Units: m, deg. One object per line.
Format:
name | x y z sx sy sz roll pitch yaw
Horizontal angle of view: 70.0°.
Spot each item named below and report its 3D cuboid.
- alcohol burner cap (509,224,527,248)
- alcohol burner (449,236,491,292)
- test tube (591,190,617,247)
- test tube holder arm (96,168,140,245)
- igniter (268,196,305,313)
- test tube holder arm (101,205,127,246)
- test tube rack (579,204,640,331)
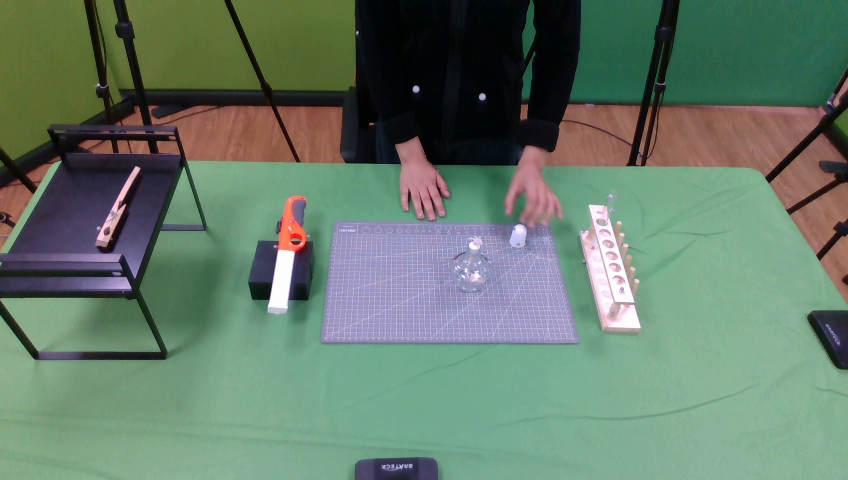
alcohol burner cap | 0.189 -0.011 1.205 0.034 0.048 0.033 1 47 0
alcohol burner | 0.086 0.038 1.101 0.078 0.119 0.077 3 44 -2
test tube | 0.340 -0.038 1.149 0.017 0.151 0.017 1 50 -1
test tube holder arm | -0.486 -0.058 0.968 0.013 0.015 0.177 27 37 -27
igniter | -0.248 0.016 1.095 0.057 0.025 0.274 8 46 -12
test tube holder arm | -0.480 -0.024 0.938 0.010 0.015 0.087 27 37 -26
test tube rack | 0.353 0.047 1.137 0.067 0.085 0.241 2 46 -2
